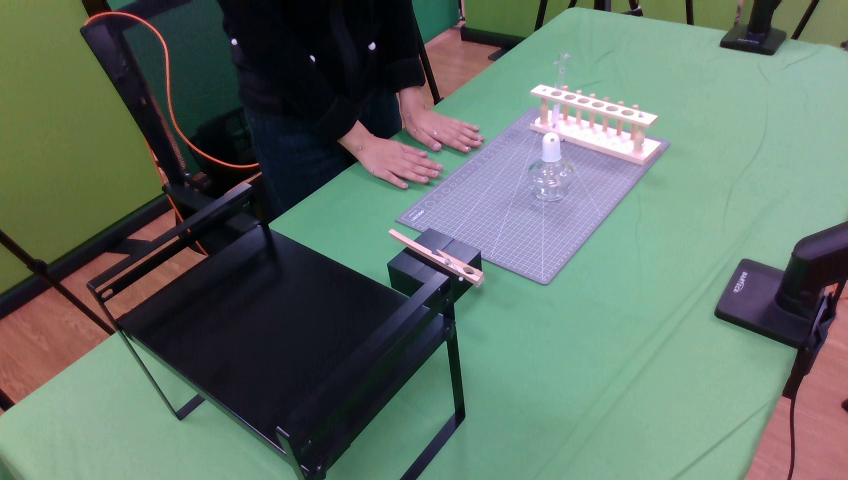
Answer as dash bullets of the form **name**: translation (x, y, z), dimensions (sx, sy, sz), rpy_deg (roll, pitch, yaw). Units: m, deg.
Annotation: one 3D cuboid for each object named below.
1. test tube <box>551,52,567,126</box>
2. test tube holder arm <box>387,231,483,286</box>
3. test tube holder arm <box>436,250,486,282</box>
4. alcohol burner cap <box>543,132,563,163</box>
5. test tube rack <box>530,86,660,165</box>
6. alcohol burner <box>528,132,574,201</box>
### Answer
- **test tube**: translation (0.253, -0.282, 1.138), dimensions (0.017, 0.151, 0.017), rpy_deg (-2, 43, 2)
- **test tube holder arm**: translation (0.012, 0.025, 0.874), dimensions (0.177, 0.015, 0.013), rpy_deg (25, 56, 33)
- **test tube holder arm**: translation (0.050, 0.037, 0.852), dimensions (0.087, 0.015, 0.010), rpy_deg (25, 57, 33)
- **alcohol burner cap**: translation (0.211, -0.154, 0.994), dimensions (0.034, 0.048, 0.033), rpy_deg (-7, 35, 6)
- **test tube rack**: translation (0.320, -0.226, 1.140), dimensions (0.240, 0.085, 0.067), rpy_deg (27, 51, 34)
- **alcohol burner**: translation (0.214, -0.126, 1.016), dimensions (0.078, 0.119, 0.077), rpy_deg (-5, 38, 5)
